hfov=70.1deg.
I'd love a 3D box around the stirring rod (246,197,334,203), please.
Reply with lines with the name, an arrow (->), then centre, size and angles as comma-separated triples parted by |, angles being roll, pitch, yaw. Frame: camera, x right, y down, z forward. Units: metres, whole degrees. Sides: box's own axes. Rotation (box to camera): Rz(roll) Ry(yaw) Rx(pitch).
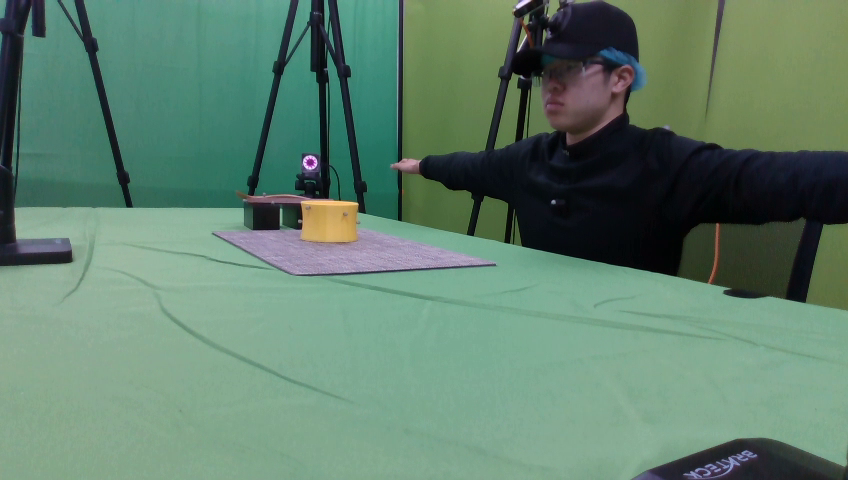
stirring rod -> -0.263, -0.079, 1.200 | 0.177, 0.006, 0.014 | -2, 46, -29

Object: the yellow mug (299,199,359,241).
yellow mug -> -0.157, -0.036, 1.060 | 0.099, 0.064, 0.131 | 6, 7, 27

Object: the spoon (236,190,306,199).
spoon -> -0.290, -0.088, 1.248 | 0.195, 0.021, 0.041 | 0, 6, -32
